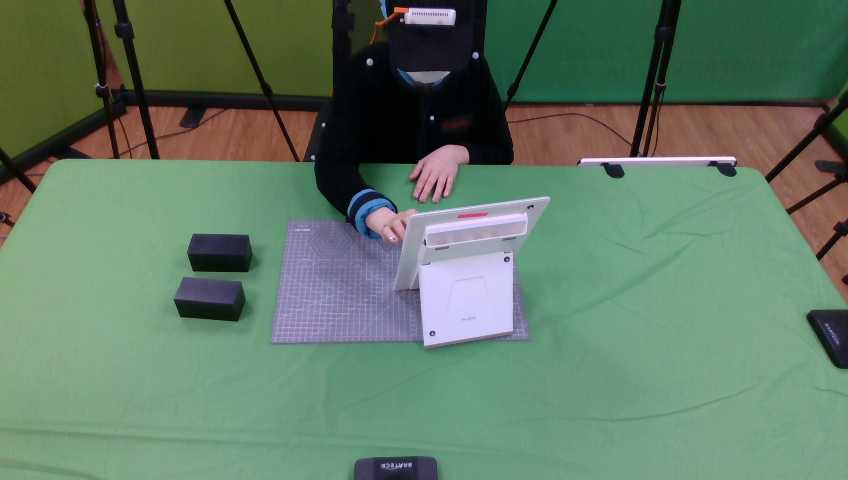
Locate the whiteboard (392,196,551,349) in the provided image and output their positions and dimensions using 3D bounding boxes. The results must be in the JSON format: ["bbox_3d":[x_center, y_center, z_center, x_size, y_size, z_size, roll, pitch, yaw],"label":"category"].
[{"bbox_3d":[0.077,0.071,0.977,0.217,0.306,0.143,-7,67,-11],"label":"whiteboard"}]

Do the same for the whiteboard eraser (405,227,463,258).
[{"bbox_3d":[0.015,0.004,0.984,0.101,0.041,0.018,-22,65,23],"label":"whiteboard eraser"}]
